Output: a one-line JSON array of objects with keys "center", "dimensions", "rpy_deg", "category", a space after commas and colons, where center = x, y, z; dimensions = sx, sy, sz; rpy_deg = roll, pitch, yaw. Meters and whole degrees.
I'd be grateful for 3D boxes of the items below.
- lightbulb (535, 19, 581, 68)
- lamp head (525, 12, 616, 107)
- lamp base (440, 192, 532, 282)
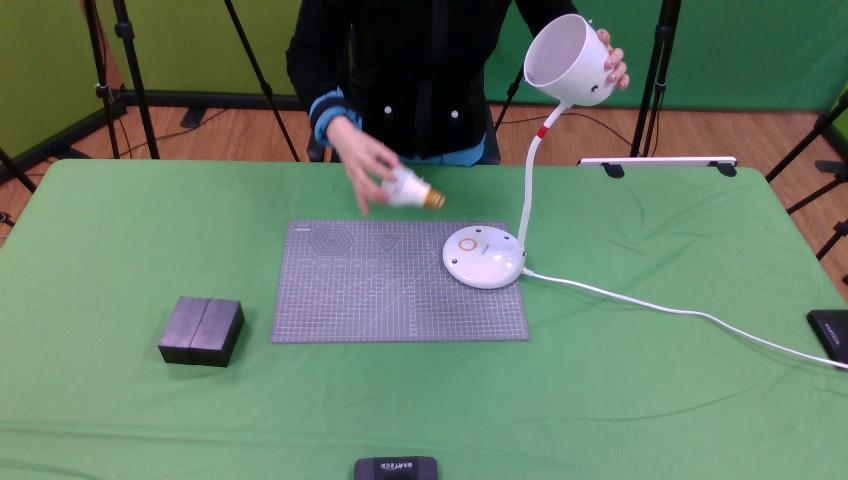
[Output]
[{"center": [0.203, -0.268, 0.869], "dimensions": [0.108, 0.059, 0.059], "rpy_deg": [37, 36, -33], "category": "lightbulb"}, {"center": [0.222, -0.248, 0.887], "dimensions": [0.112, 0.123, 0.111], "rpy_deg": [-24, 47, 29], "category": "lamp head"}, {"center": [0.127, -0.032, 1.123], "dimensions": [0.179, 0.181, 0.159], "rpy_deg": [11, 46, 2], "category": "lamp base"}]
